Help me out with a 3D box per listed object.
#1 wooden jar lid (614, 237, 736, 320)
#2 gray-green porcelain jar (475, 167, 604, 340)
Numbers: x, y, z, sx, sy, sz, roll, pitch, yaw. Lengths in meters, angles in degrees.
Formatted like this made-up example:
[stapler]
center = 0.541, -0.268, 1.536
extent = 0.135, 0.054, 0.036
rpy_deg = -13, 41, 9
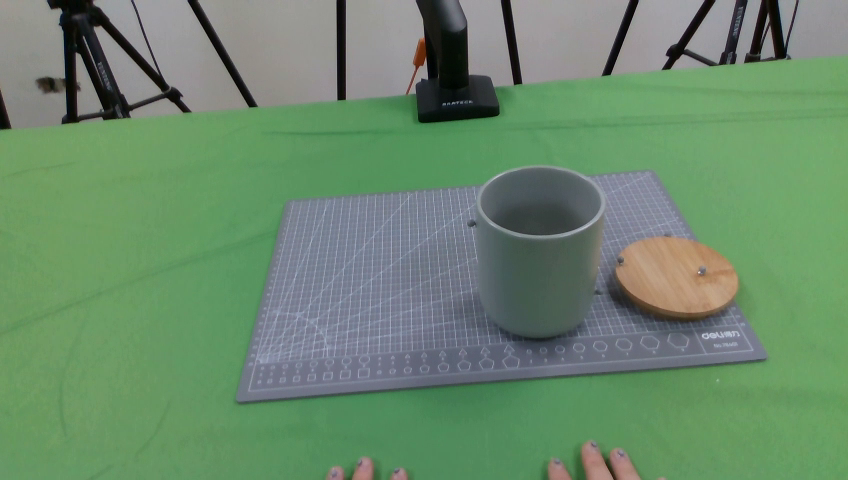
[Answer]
[wooden jar lid]
center = 0.236, 0.038, 0.576
extent = 0.108, 0.021, 0.107
rpy_deg = -4, 37, 3
[gray-green porcelain jar]
center = 0.098, 0.016, 0.533
extent = 0.106, 0.127, 0.105
rpy_deg = -3, 39, 3
